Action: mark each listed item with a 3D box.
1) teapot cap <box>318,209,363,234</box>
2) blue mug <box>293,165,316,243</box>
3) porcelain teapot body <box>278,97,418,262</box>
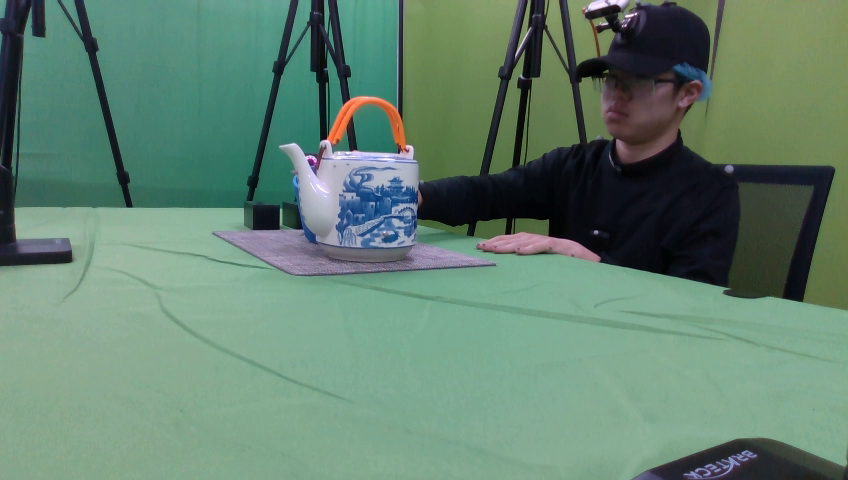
[{"bbox_3d":[-0.158,-0.036,1.144,0.085,0.044,0.085,1,6,0],"label":"teapot cap"},{"bbox_3d":[-0.153,-0.067,0.995,0.082,0.106,0.117,23,44,31],"label":"blue mug"},{"bbox_3d":[-0.104,-0.086,0.842,0.206,0.225,0.144,-4,10,-38],"label":"porcelain teapot body"}]
